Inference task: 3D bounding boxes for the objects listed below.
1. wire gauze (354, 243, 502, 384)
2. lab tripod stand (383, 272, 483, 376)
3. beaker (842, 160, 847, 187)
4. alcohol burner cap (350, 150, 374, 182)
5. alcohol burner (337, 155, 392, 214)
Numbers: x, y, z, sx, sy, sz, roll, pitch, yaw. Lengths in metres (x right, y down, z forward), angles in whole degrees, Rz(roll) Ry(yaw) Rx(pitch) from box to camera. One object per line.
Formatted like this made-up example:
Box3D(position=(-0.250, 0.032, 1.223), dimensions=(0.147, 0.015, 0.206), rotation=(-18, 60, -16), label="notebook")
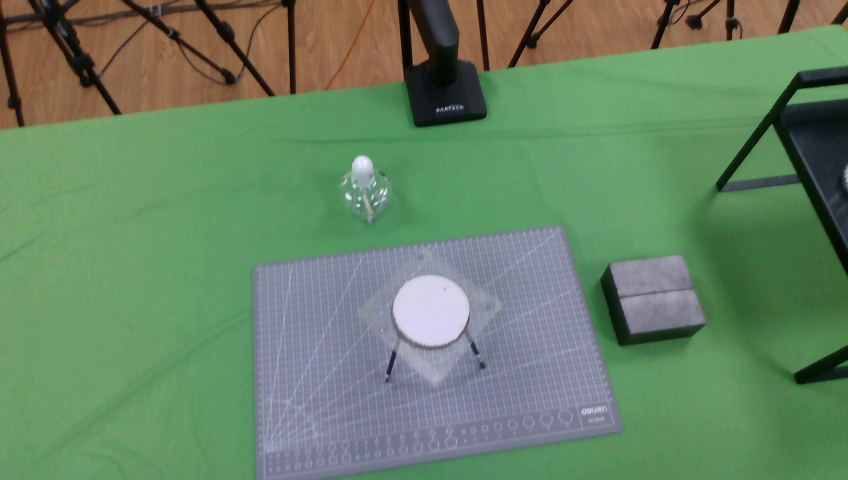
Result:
Box3D(position=(0.005, 0.076, 0.680), dimensions=(0.124, 0.011, 0.121), rotation=(39, 69, 17), label="wire gauze")
Box3D(position=(0.009, 0.106, 0.741), dimensions=(0.148, 0.132, 0.147), rotation=(1, 62, -2), label="lab tripod stand")
Box3D(position=(0.521, -0.091, 0.666), dimensions=(0.084, 0.101, 0.073), rotation=(-20, 64, -9), label="beaker")
Box3D(position=(-0.085, -0.102, 0.821), dimensions=(0.034, 0.048, 0.033), rotation=(2, 68, -4), label="alcohol burner cap")
Box3D(position=(-0.084, -0.087, 0.852), dimensions=(0.078, 0.120, 0.077), rotation=(1, 63, -2), label="alcohol burner")
